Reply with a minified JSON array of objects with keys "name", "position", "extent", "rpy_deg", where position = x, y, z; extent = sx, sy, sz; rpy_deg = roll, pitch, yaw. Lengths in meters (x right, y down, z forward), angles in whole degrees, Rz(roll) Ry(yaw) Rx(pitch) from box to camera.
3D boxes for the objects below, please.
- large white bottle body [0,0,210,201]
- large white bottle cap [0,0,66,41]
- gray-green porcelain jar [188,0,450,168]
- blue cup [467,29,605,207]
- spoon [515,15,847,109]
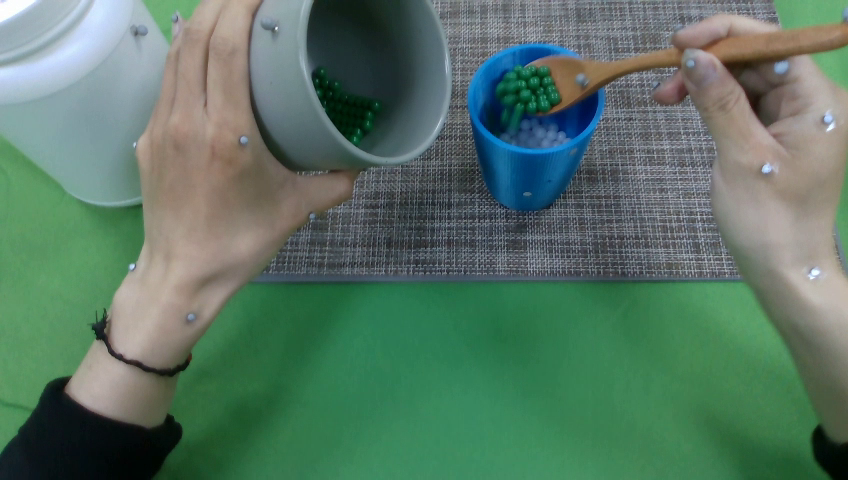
[{"name":"large white bottle body","position":[-0.243,-0.123,0.418],"extent":[0.130,0.186,0.129],"rpy_deg":[-1,66,3]},{"name":"large white bottle cap","position":[-0.249,-0.157,0.341],"extent":[0.115,0.018,0.114],"rpy_deg":[-1,67,3]},{"name":"gray-green porcelain jar","position":[-0.066,-0.096,0.351],"extent":[0.125,0.107,0.105],"rpy_deg":[4,61,43]},{"name":"blue cup","position":[0.073,-0.072,0.420],"extent":[0.092,0.101,0.092],"rpy_deg":[-2,65,5]},{"name":"spoon","position":[0.119,-0.095,0.323],"extent":[0.022,0.192,0.041],"rpy_deg":[23,83,-32]}]
